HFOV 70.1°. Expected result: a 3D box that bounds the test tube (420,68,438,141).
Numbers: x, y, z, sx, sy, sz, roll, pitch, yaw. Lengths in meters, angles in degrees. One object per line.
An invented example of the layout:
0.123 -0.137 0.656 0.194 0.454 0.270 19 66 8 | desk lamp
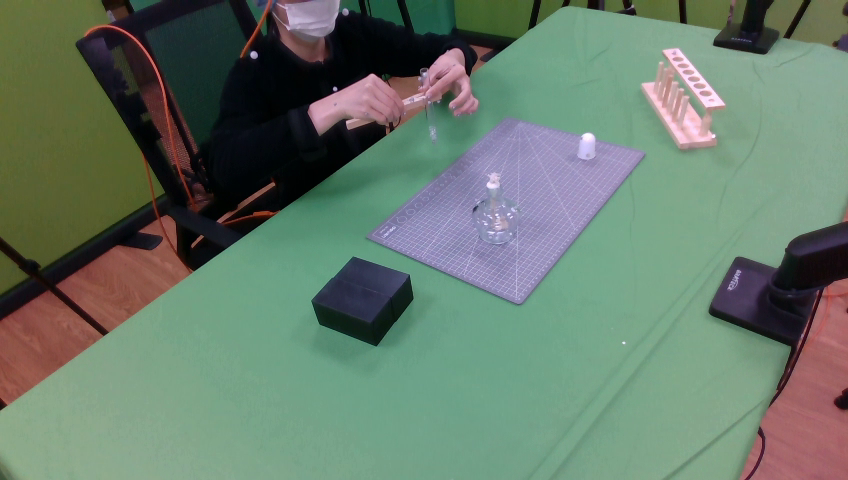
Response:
0.010 -0.238 1.077 0.017 0.151 0.017 -5 47 6 | test tube

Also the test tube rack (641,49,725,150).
0.495 -0.279 1.175 0.067 0.085 0.241 -5 41 3 | test tube rack

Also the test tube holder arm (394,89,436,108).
-0.014 -0.242 1.056 0.088 0.015 0.010 -32 35 -27 | test tube holder arm

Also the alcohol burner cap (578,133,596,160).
0.301 -0.174 1.111 0.034 0.048 0.033 -5 41 4 | alcohol burner cap

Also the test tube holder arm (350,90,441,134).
-0.047 -0.220 1.033 0.179 0.015 0.013 -28 33 -22 | test tube holder arm

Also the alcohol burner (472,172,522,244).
0.112 -0.053 0.942 0.078 0.119 0.077 -6 40 6 | alcohol burner
